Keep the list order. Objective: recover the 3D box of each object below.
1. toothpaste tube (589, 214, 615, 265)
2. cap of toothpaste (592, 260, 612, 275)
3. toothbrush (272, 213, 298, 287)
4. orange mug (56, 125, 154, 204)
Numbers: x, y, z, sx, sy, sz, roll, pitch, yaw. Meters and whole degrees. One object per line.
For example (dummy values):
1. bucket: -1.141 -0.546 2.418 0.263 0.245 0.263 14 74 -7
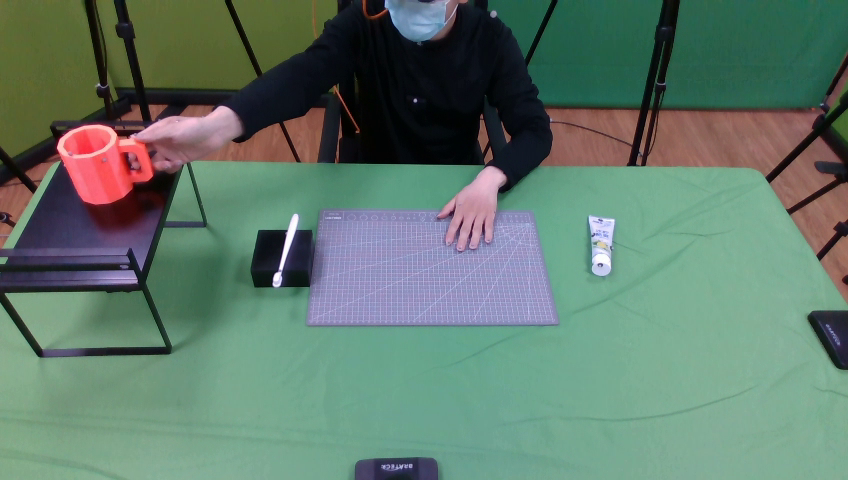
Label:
1. toothpaste tube: 0.360 0.002 1.220 0.055 0.035 0.164 13 43 3
2. cap of toothpaste: 0.341 0.052 1.162 0.037 0.037 0.011 10 43 5
3. toothbrush: -0.252 0.012 1.104 0.014 0.017 0.181 1 46 2
4. orange mug: -0.509 -0.124 0.977 0.126 0.101 0.083 -10 48 -8
